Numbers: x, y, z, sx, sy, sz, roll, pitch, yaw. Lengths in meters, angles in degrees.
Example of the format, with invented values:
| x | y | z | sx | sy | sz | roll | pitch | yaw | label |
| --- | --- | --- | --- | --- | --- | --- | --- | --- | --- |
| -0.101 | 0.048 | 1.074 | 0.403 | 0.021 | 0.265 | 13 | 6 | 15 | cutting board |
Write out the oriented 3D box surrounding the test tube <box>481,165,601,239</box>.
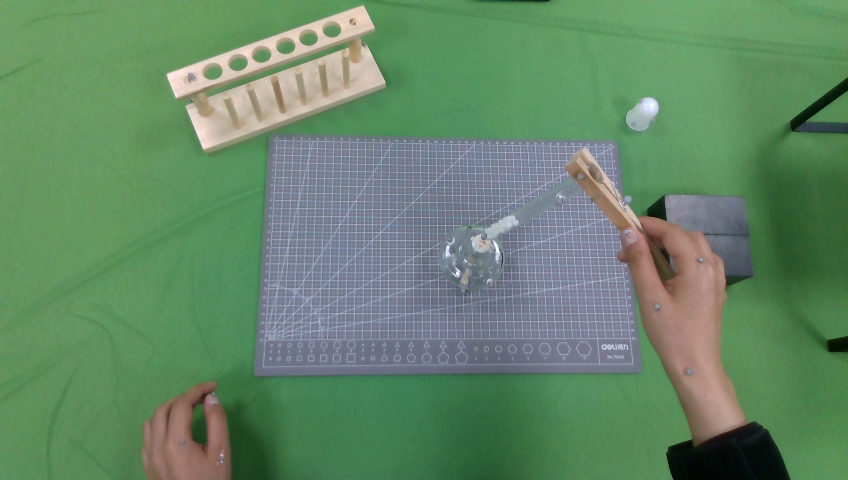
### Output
| x | y | z | sx | sy | sz | roll | pitch | yaw | label |
| --- | --- | --- | --- | --- | --- | --- | --- | --- | --- |
| 0.100 | -0.031 | 0.550 | 0.017 | 0.150 | 0.017 | 13 | 64 | -29 | test tube |

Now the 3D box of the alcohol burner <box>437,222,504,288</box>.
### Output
| x | y | z | sx | sy | sz | roll | pitch | yaw | label |
| --- | --- | --- | --- | --- | --- | --- | --- | --- | --- |
| 0.055 | 0.013 | 0.683 | 0.078 | 0.119 | 0.077 | 1 | 75 | -5 | alcohol burner |

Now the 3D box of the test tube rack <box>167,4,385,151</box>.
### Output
| x | y | z | sx | sy | sz | roll | pitch | yaw | label |
| --- | --- | --- | --- | --- | --- | --- | --- | --- | --- |
| -0.171 | -0.197 | 0.740 | 0.242 | 0.085 | 0.066 | -23 | 77 | -10 | test tube rack |

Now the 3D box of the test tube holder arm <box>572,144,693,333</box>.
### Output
| x | y | z | sx | sy | sz | roll | pitch | yaw | label |
| --- | --- | --- | --- | --- | --- | --- | --- | --- | --- |
| 0.175 | -0.001 | 0.505 | 0.015 | 0.013 | 0.178 | -30 | 94 | 31 | test tube holder arm |

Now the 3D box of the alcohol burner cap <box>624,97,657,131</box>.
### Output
| x | y | z | sx | sy | sz | roll | pitch | yaw | label |
| --- | --- | --- | --- | --- | --- | --- | --- | --- | --- |
| 0.285 | -0.167 | 0.791 | 0.034 | 0.048 | 0.033 | 1 | 74 | -3 | alcohol burner cap |

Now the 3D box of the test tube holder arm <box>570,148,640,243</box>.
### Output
| x | y | z | sx | sy | sz | roll | pitch | yaw | label |
| --- | --- | --- | --- | --- | --- | --- | --- | --- | --- |
| 0.148 | -0.035 | 0.494 | 0.015 | 0.010 | 0.088 | -30 | 105 | 30 | test tube holder arm |
